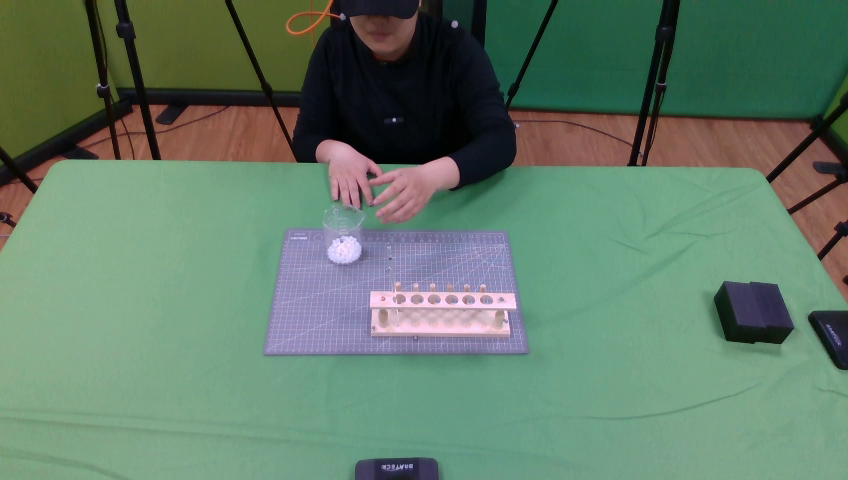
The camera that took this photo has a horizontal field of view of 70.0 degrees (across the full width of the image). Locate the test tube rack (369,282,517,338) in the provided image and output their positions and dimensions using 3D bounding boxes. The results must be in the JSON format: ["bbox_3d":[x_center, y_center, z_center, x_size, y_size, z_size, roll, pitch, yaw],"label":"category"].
[{"bbox_3d":[0.030,0.116,1.041,0.242,0.085,0.066,1,46,-3],"label":"test tube rack"}]

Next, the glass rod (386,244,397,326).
[{"bbox_3d":[-0.052,0.078,0.980,0.008,0.201,0.008,-1,45,1],"label":"glass rod"}]

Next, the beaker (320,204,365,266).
[{"bbox_3d":[-0.151,-0.008,1.138,0.084,0.101,0.073,-12,49,-16],"label":"beaker"}]
